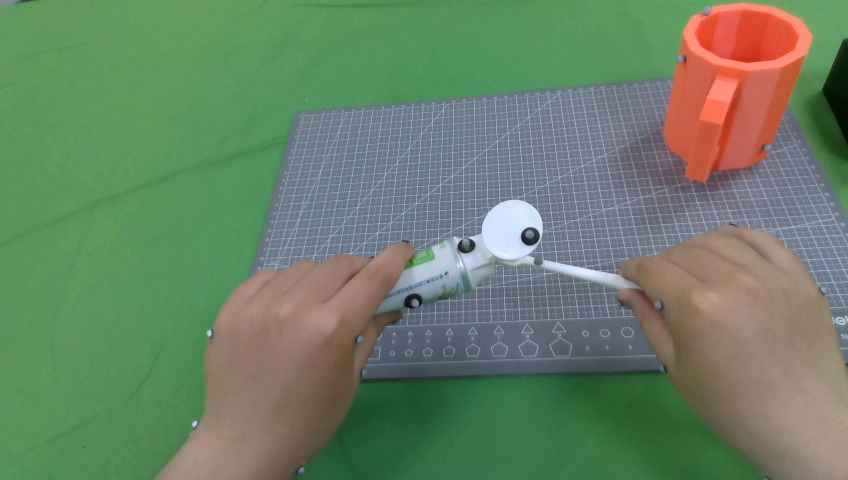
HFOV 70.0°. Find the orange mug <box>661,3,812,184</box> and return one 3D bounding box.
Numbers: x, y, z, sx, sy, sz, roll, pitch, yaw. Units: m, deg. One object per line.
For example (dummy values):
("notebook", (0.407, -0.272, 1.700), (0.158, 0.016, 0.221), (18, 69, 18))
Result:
("orange mug", (0.229, -0.106, 0.463), (0.083, 0.102, 0.126), (20, 53, 25))

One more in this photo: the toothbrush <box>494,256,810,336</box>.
("toothbrush", (0.122, 0.025, 0.349), (0.181, 0.017, 0.014), (14, 55, 18))

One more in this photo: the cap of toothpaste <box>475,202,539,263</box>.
("cap of toothpaste", (0.047, -0.003, 0.339), (0.037, 0.011, 0.037), (-8, 70, 22))

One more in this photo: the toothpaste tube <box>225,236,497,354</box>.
("toothpaste tube", (-0.033, 0.035, 0.359), (0.165, 0.055, 0.034), (-20, 87, 1))
